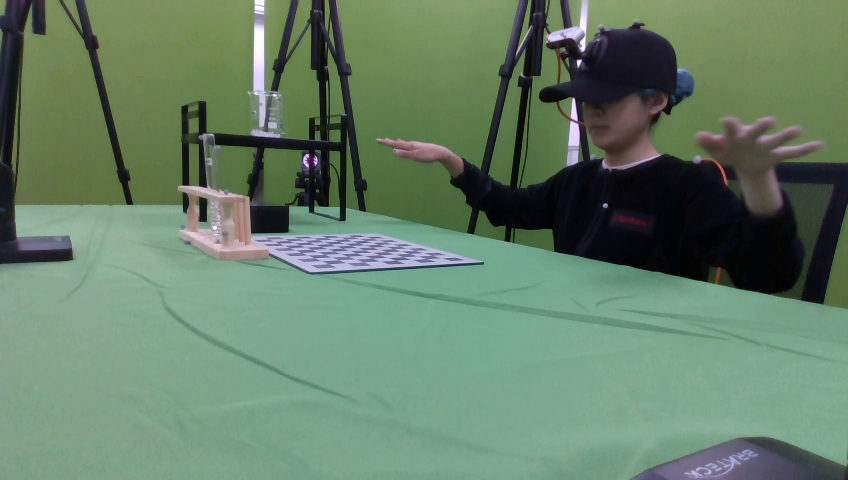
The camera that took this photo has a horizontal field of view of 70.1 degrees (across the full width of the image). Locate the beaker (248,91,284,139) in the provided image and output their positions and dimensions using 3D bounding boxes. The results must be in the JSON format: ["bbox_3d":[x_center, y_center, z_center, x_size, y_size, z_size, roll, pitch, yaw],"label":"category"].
[{"bbox_3d":[-0.353,-0.277,1.343,0.073,0.100,0.084,8,9,39],"label":"beaker"}]

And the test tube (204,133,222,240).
[{"bbox_3d":[-0.295,-0.075,0.849,0.017,0.150,0.017,-3,6,1],"label":"test tube"}]

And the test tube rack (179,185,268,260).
[{"bbox_3d":[-0.303,-0.032,0.898,0.067,0.085,0.241,-2,9,-33],"label":"test tube rack"}]
